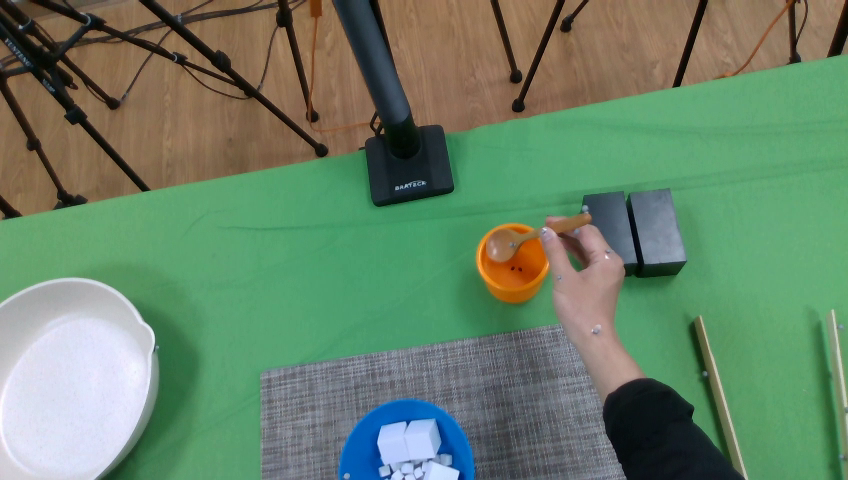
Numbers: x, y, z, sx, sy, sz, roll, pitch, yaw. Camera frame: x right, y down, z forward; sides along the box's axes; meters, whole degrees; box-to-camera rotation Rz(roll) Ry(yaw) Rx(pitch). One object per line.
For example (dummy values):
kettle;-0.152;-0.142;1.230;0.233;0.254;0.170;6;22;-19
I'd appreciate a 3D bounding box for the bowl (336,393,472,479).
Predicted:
bowl;-0.018;0.257;0.693;0.151;0.077;0.150;-3;68;7

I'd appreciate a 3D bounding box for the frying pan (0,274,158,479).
frying pan;-0.441;0.269;0.736;0.307;0.104;0.482;-25;59;-2

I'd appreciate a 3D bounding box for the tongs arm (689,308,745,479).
tongs arm;0.360;0.260;0.673;0.028;0.028;0.384;-10;68;2

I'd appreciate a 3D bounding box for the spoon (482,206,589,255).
spoon;0.117;-0.012;0.668;0.022;0.193;0.041;-4;84;-22

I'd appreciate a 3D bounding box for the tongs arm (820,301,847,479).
tongs arm;0.439;0.254;0.659;0.050;0.027;0.382;1;70;10
